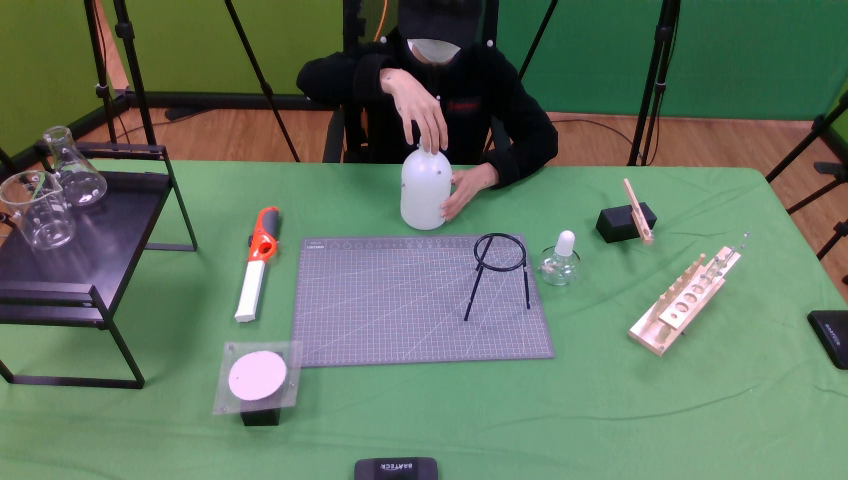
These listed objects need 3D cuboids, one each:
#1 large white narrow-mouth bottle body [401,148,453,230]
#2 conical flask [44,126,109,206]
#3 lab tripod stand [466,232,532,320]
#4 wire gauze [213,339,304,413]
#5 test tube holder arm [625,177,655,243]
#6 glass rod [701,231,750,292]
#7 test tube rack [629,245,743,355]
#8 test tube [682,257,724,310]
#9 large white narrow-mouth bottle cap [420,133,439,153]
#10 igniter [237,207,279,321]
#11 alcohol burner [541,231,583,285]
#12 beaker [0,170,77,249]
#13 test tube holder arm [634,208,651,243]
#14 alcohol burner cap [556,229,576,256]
[{"bbox_3d":[0.005,-0.119,1.191,0.102,0.195,0.101,2,46,-2],"label":"large white narrow-mouth bottle body"},{"bbox_3d":[-0.554,-0.119,0.953,0.075,0.122,0.075,2,46,-2],"label":"conical flask"},{"bbox_3d":[0.125,0.059,1.065,0.148,0.132,0.147,1,45,0],"label":"lab tripod stand"},{"bbox_3d":[-0.250,0.203,0.925,0.121,0.011,0.124,-1,46,-3],"label":"wire gauze"},{"bbox_3d":[0.433,-0.063,1.220,0.013,0.015,0.177,1,47,-3],"label":"test tube holder arm"},{"bbox_3d":[0.519,0.045,1.050,0.008,0.201,0.008,0,55,0],"label":"glass rod"},{"bbox_3d":[0.474,0.095,1.091,0.242,0.085,0.066,-34,56,-31],"label":"test tube rack"},{"bbox_3d":[0.475,0.080,1.037,0.017,0.151,0.017,2,51,-2],"label":"test tube"},{"bbox_3d":[0.011,-0.180,1.126,0.038,0.024,0.037,2,46,-2],"label":"large white narrow-mouth bottle cap"},{"bbox_3d":[-0.309,0.035,1.136,0.057,0.025,0.274,-7,45,4],"label":"igniter"},{"bbox_3d":[0.258,0.028,1.123,0.078,0.120,0.077,1,48,-1],"label":"alcohol burner"},{"bbox_3d":[-0.562,-0.042,0.894,0.084,0.101,0.073,-2,47,-7],"label":"beaker"},{"bbox_3d":[0.428,-0.030,1.189,0.010,0.015,0.087,1,47,-2],"label":"test tube holder arm"},{"bbox_3d":[0.260,0.002,1.098,0.034,0.048,0.033,3,40,-2],"label":"alcohol burner cap"}]
